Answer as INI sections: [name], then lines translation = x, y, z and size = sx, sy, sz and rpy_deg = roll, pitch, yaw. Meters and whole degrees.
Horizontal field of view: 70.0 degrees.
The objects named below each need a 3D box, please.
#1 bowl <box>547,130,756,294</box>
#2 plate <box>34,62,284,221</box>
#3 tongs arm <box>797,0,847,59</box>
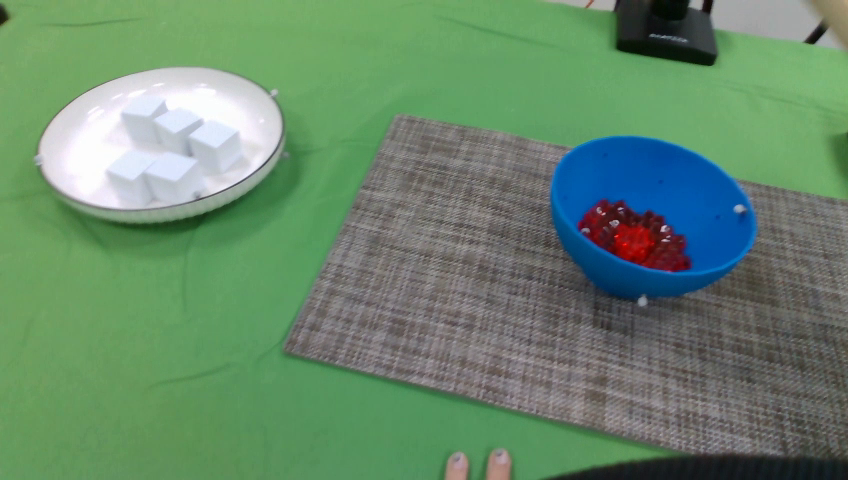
[bowl]
translation = 0.167, -0.010, 0.480
size = 0.151, 0.077, 0.150
rpy_deg = 2, 48, -2
[plate]
translation = -0.233, -0.090, 0.553
size = 0.209, 0.038, 0.207
rpy_deg = 2, 49, -2
[tongs arm]
translation = 0.326, -0.082, 0.385
size = 0.028, 0.028, 0.384
rpy_deg = -25, 71, -15
